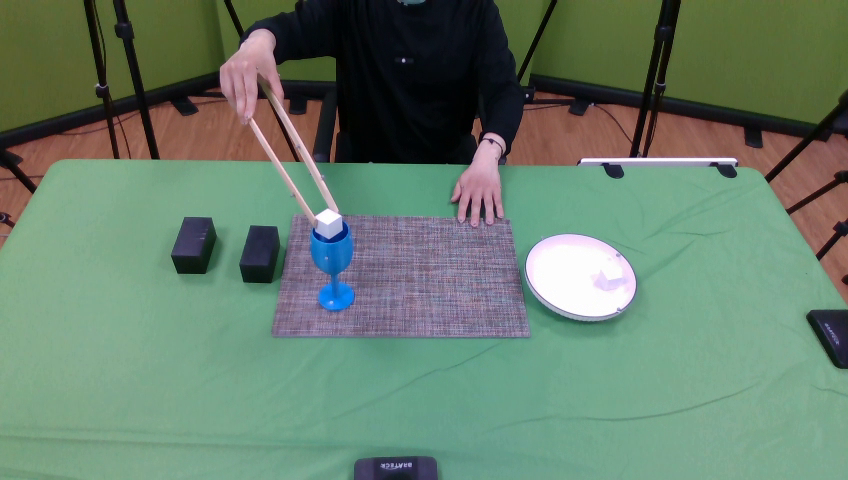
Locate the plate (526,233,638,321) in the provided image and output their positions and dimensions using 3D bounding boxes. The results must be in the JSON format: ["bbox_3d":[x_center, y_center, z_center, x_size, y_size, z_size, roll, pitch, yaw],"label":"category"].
[{"bbox_3d":[0.292,0.071,1.135,0.209,0.038,0.208,2,46,-2],"label":"plate"}]

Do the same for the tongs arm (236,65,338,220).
[{"bbox_3d":[-0.244,-0.177,1.049,0.051,0.026,0.382,-18,59,-22],"label":"tongs arm"}]

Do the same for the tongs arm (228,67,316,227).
[{"bbox_3d":[-0.266,-0.169,1.038,0.028,0.028,0.385,-23,61,-21],"label":"tongs arm"}]

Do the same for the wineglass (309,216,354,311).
[{"bbox_3d":[-0.156,0.043,1.032,0.074,0.173,0.073,2,46,-2],"label":"wineglass"}]
